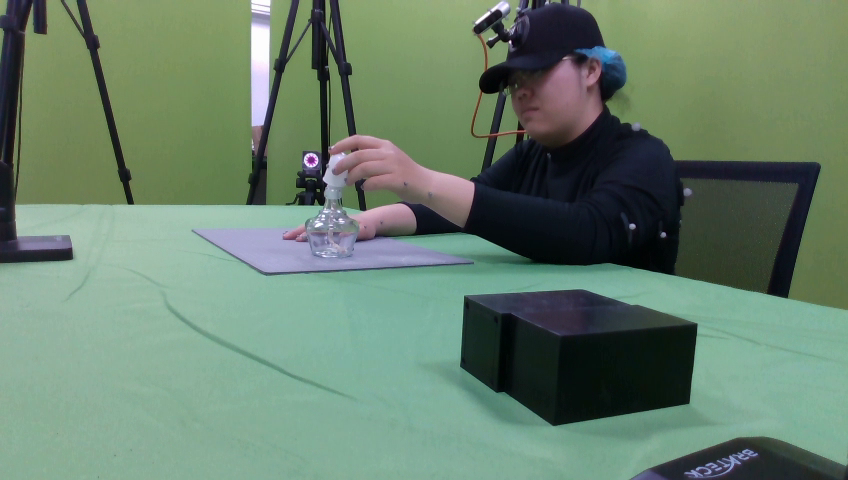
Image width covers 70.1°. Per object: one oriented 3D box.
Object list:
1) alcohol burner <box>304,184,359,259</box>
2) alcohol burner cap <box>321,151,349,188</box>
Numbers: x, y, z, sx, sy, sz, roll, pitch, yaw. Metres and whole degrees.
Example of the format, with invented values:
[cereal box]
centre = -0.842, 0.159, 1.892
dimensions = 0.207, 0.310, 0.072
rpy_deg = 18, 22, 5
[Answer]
[alcohol burner]
centre = -0.130, -0.034, 0.851
dimensions = 0.078, 0.119, 0.078
rpy_deg = 2, 5, 0
[alcohol burner cap]
centre = -0.121, -0.100, 0.839
dimensions = 0.034, 0.048, 0.034
rpy_deg = 17, 23, -7
